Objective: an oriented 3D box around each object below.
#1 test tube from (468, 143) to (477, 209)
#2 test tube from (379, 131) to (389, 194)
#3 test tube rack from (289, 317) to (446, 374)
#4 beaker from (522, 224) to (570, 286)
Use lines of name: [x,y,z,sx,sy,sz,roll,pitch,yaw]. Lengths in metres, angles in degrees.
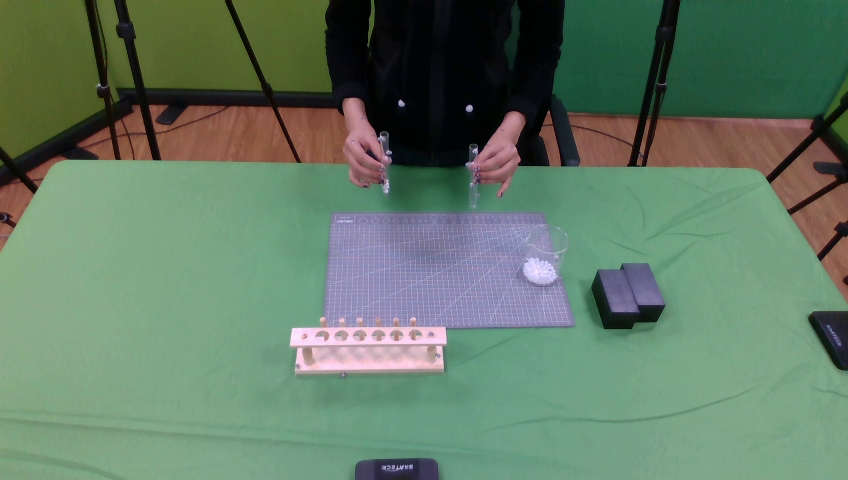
test tube: [0.090,-0.116,1.129,0.017,0.151,0.017,-2,45,2]
test tube: [-0.073,-0.139,1.110,0.017,0.151,0.017,1,52,-1]
test tube rack: [-0.089,0.167,0.988,0.242,0.085,0.066,0,46,-4]
beaker: [0.221,0.032,1.129,0.084,0.101,0.073,-6,46,-9]
